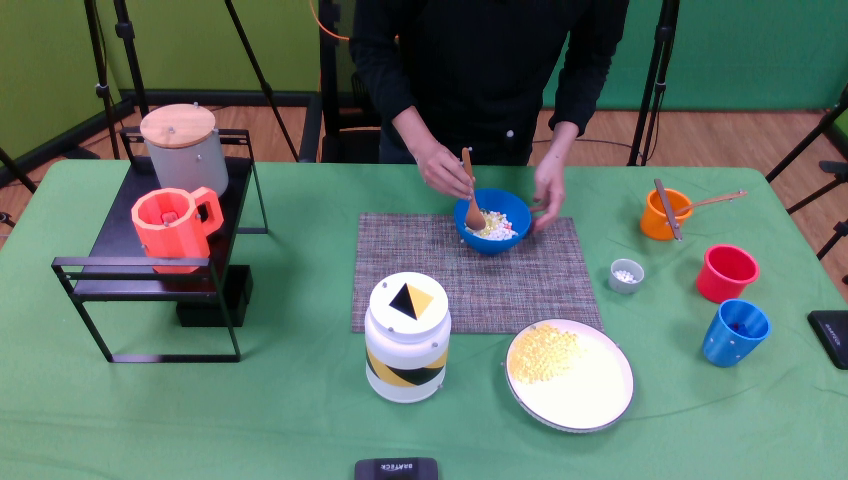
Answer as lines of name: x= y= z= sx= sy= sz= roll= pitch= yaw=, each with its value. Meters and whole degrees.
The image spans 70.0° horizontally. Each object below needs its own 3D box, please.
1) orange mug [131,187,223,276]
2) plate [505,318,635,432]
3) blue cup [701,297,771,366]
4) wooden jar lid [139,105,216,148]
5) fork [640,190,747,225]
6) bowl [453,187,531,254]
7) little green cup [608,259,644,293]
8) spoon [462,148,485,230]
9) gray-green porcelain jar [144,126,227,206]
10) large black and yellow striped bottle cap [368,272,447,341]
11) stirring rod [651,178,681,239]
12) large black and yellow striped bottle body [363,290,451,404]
orange mug: x=-0.354 y=-0.022 z=0.888 sx=0.083 sy=0.101 sz=0.126 roll=31 pitch=55 yaw=24
plate: x=0.235 y=0.221 z=0.991 sx=0.209 sy=0.038 sz=0.208 roll=2 pitch=46 yaw=-2
blue cup: x=0.519 y=0.162 z=1.025 sx=0.093 sy=0.101 sz=0.092 roll=3 pitch=45 yaw=-3
wooden jar lid: x=-0.372 y=-0.169 z=0.920 sx=0.108 sy=0.021 sz=0.107 roll=4 pitch=44 yaw=-4
fork: x=0.533 y=-0.065 z=1.211 sx=0.207 sy=0.019 sz=0.028 roll=-22 pitch=28 yaw=39
bowl: x=0.128 y=-0.026 z=1.187 sx=0.151 sy=0.077 sz=0.150 roll=2 pitch=46 yaw=-2
little green cup: x=0.379 y=0.070 z=1.147 sx=0.061 sy=0.039 sz=0.061 roll=3 pitch=45 yaw=-2
spoon: x=0.084 y=-0.089 z=1.107 sx=0.041 sy=0.195 sz=0.021 roll=6 pitch=43 yaw=20
gray-green porcelain jar: x=-0.375 y=-0.125 z=0.967 sx=0.106 sy=0.127 sz=0.105 roll=2 pitch=46 yaw=-2
large black and yellow striped bottle cap: x=-0.023 y=0.093 z=0.875 sx=0.115 sy=0.019 sz=0.114 roll=3 pitch=46 yaw=-3
stirring rod: x=0.479 y=-0.065 z=1.204 sx=0.014 sy=0.006 sz=0.175 roll=3 pitch=46 yaw=-4
large black and yellow striped bottle body: x=-0.027 y=0.153 z=0.935 sx=0.131 sy=0.185 sz=0.130 roll=2 pitch=46 yaw=-2
